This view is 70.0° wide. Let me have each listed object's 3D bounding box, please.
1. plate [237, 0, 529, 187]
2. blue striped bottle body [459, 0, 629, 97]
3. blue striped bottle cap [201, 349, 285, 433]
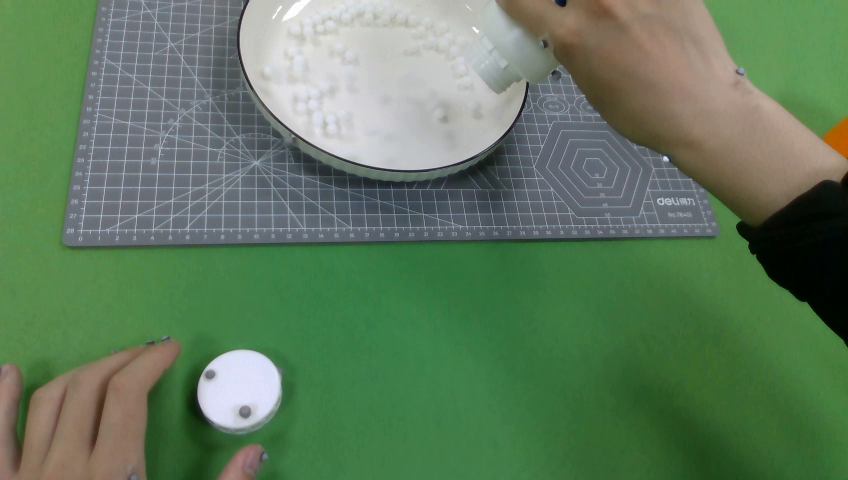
[{"bbox_3d":[-0.027,-0.124,0.443,0.208,0.039,0.206,6,63,-10],"label":"plate"},{"bbox_3d":[0.079,-0.148,0.395,0.063,0.121,0.062,42,22,-20],"label":"blue striped bottle body"},{"bbox_3d":[-0.101,0.084,0.338,0.045,0.021,0.044,4,66,-9],"label":"blue striped bottle cap"}]
